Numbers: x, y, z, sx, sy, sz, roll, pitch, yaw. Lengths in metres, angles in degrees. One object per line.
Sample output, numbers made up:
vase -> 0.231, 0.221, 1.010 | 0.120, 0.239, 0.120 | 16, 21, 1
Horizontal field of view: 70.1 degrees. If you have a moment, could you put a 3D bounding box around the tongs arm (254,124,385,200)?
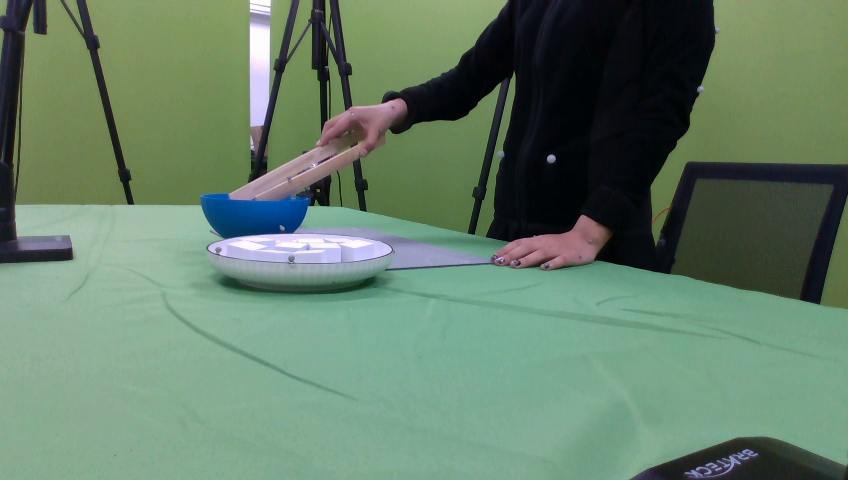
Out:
tongs arm -> -0.164, -0.130, 1.009 | 0.050, 0.026, 0.386 | 10, 29, 27

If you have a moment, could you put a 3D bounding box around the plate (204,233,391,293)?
plate -> -0.143, 0.025, 0.697 | 0.208, 0.039, 0.207 | 3, 9, 0

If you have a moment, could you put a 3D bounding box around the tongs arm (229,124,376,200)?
tongs arm -> -0.190, -0.135, 1.020 | 0.028, 0.028, 0.388 | 5, 27, 27

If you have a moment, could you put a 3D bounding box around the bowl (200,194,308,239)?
bowl -> -0.245, -0.025, 0.879 | 0.151, 0.077, 0.151 | 2, 7, 0
